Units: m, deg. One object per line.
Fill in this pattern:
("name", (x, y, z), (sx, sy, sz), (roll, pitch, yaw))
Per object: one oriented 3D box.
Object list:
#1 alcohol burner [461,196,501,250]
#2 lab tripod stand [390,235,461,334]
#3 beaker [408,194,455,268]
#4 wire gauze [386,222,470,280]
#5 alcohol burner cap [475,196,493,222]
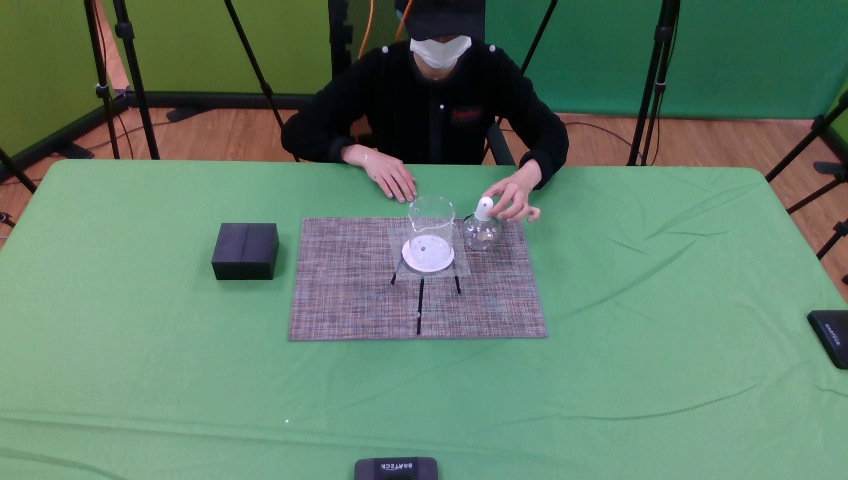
("alcohol burner", (0.111, -0.037, 1.172), (0.078, 0.120, 0.077), (1, 45, 0))
("lab tripod stand", (-0.002, 0.067, 1.050), (0.148, 0.132, 0.147), (1, 47, -1))
("beaker", (0.009, -0.010, 0.965), (0.074, 0.101, 0.084), (23, 50, 20))
("wire gauze", (0.005, 0.018, 1.006), (0.125, 0.011, 0.120), (-7, 45, -5))
("alcohol burner cap", (0.116, -0.062, 1.147), (0.034, 0.048, 0.033), (3, 46, -3))
